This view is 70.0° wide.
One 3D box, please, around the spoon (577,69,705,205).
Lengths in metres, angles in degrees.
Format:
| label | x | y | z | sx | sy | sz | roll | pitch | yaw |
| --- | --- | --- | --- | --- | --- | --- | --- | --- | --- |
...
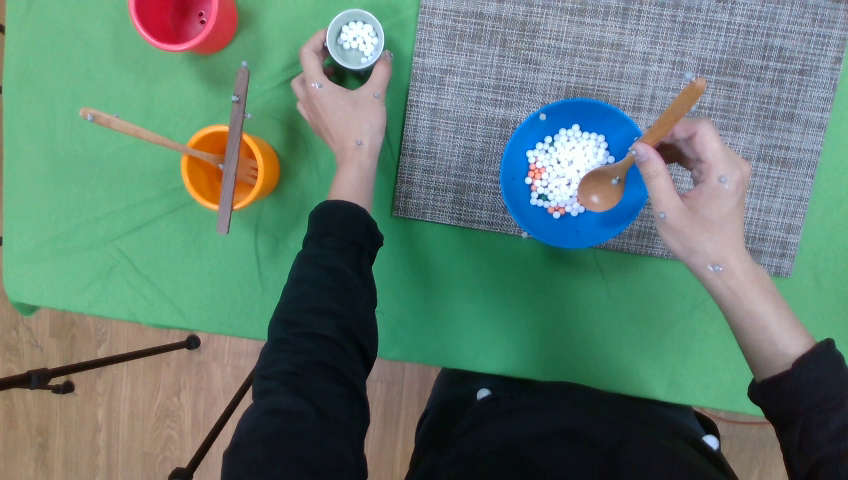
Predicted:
| label | x | y | z | sx | sy | sz | roll | pitch | yaw |
| --- | --- | --- | --- | --- | --- | --- | --- | --- | --- |
| spoon | 0.176 | -0.078 | 0.504 | 0.041 | 0.194 | 0.021 | 42 | 71 | 7 |

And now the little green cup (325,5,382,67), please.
| label | x | y | z | sx | sy | sz | roll | pitch | yaw |
| --- | --- | --- | --- | --- | --- | --- | --- | --- | --- |
| little green cup | -0.074 | -0.218 | 0.658 | 0.061 | 0.038 | 0.061 | 0 | 96 | 0 |

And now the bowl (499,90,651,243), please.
| label | x | y | z | sx | sy | sz | roll | pitch | yaw |
| --- | --- | --- | --- | --- | --- | --- | --- | --- | --- |
| bowl | 0.153 | -0.077 | 0.639 | 0.151 | 0.076 | 0.151 | 1 | 100 | 6 |

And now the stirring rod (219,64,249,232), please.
| label | x | y | z | sx | sy | sz | roll | pitch | yaw |
| --- | --- | --- | --- | --- | --- | --- | --- | --- | --- |
| stirring rod | -0.200 | -0.095 | 0.637 | 0.014 | 0.006 | 0.176 | 10 | 101 | 5 |

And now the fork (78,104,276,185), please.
| label | x | y | z | sx | sy | sz | roll | pitch | yaw |
| --- | --- | --- | --- | --- | --- | --- | --- | --- | --- |
| fork | -0.253 | -0.100 | 0.644 | 0.209 | 0.018 | 0.028 | 19 | 107 | -41 |
